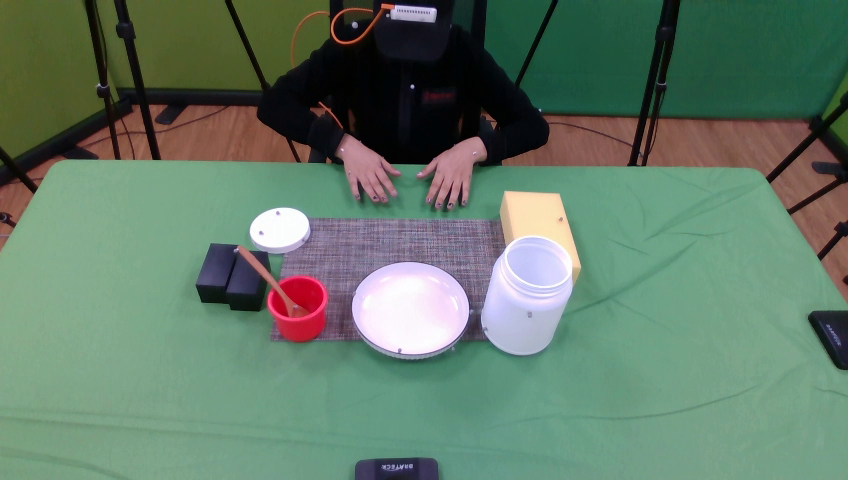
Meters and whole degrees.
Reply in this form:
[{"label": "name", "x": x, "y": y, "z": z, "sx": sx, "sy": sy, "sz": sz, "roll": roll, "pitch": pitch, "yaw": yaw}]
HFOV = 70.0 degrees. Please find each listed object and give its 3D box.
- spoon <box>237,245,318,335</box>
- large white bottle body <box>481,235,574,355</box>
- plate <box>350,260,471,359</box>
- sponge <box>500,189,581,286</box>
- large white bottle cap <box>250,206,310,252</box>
[{"label": "spoon", "x": -0.244, "y": 0.082, "z": 1.010, "sx": 0.041, "sy": 0.021, "sz": 0.194, "roll": -46, "pitch": 108, "yaw": -36}, {"label": "large white bottle body", "x": 0.171, "y": 0.091, "z": 1.006, "sx": 0.131, "sy": 0.185, "sz": 0.130, "roll": 3, "pitch": 48, "yaw": -3}, {"label": "plate", "x": -0.024, "y": 0.124, "z": 1.061, "sx": 0.209, "sy": 0.038, "sz": 0.208, "roll": 2, "pitch": 46, "yaw": -2}, {"label": "sponge", "x": 0.223, "y": -0.007, "z": 1.192, "sx": 0.118, "sy": 0.061, "sz": 0.205, "roll": 1, "pitch": 47, "yaw": -6}, {"label": "large white bottle cap", "x": -0.284, "y": -0.022, "z": 1.197, "sx": 0.115, "sy": 0.018, "sz": 0.114, "roll": 1, "pitch": 46, "yaw": -1}]
